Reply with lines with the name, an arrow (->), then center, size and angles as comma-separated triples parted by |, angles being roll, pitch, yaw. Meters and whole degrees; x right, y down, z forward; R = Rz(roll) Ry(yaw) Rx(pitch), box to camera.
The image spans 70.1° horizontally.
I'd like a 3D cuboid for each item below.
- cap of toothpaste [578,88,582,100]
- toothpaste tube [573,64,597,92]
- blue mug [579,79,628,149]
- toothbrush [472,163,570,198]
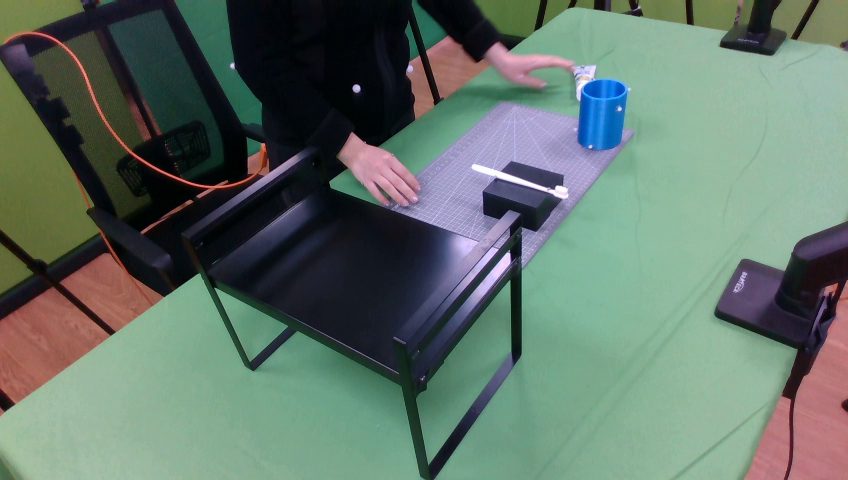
cap of toothpaste -> 0.342, -0.308, 1.270 | 0.037, 0.037, 0.011 | 1, 38, 10
toothpaste tube -> 0.358, -0.355, 1.331 | 0.055, 0.034, 0.164 | 5, 38, 8
blue mug -> 0.336, -0.246, 1.143 | 0.082, 0.106, 0.116 | 0, 41, 10
toothbrush -> 0.157, -0.101, 0.996 | 0.180, 0.017, 0.014 | 21, 54, 30
